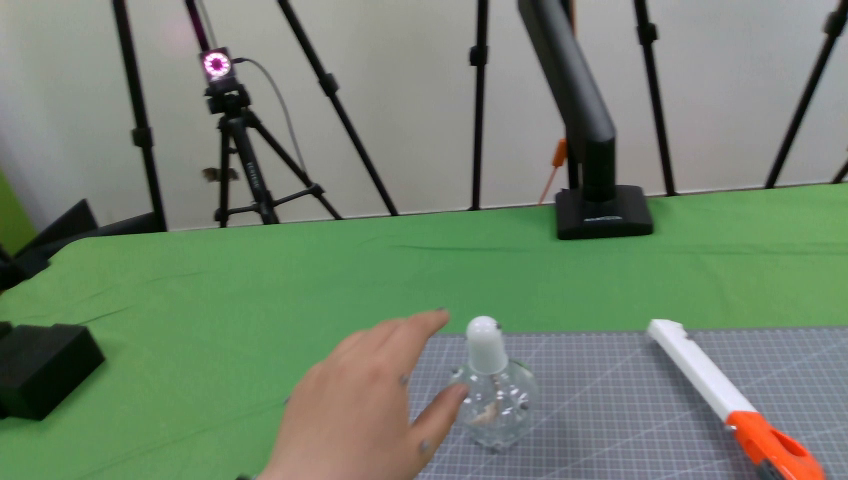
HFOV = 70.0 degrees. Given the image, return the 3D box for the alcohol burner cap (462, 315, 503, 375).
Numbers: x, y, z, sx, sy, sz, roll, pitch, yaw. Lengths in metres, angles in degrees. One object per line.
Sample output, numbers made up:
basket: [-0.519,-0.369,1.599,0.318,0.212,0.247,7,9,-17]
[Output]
alcohol burner cap: [0.046,0.082,0.489,0.034,0.048,0.033,-6,33,4]

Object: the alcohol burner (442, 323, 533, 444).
alcohol burner: [0.052,0.113,0.507,0.078,0.120,0.077,-6,32,4]

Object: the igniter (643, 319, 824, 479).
igniter: [0.251,0.145,0.471,0.057,0.025,0.274,8,24,-15]
